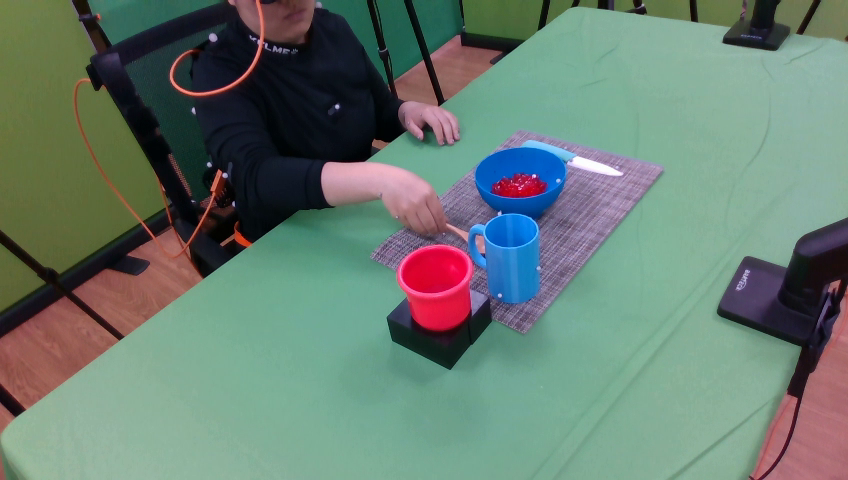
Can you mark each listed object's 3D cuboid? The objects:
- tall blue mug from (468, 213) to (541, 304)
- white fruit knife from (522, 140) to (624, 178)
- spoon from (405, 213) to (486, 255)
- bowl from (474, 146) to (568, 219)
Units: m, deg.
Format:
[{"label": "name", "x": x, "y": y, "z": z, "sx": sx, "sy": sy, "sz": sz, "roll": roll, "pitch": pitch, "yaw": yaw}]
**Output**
[{"label": "tall blue mug", "x": 0.111, "y": 0.026, "z": 0.856, "sx": 0.107, "sy": 0.108, "sz": 0.077, "roll": 2, "pitch": 42, "yaw": 13}, {"label": "white fruit knife", "x": 0.270, "y": -0.149, "z": 1.110, "sx": 0.206, "sy": 0.016, "sz": 0.027, "roll": 25, "pitch": 80, "yaw": 32}, {"label": "spoon", "x": 0.045, "y": -0.016, "z": 0.968, "sx": 0.192, "sy": 0.022, "sz": 0.042, "roll": 25, "pitch": 49, "yaw": 32}, {"label": "bowl", "x": 0.161, "y": -0.083, "z": 1.001, "sx": 0.151, "sy": 0.077, "sz": 0.150, "roll": -5, "pitch": 40, "yaw": 5}]
